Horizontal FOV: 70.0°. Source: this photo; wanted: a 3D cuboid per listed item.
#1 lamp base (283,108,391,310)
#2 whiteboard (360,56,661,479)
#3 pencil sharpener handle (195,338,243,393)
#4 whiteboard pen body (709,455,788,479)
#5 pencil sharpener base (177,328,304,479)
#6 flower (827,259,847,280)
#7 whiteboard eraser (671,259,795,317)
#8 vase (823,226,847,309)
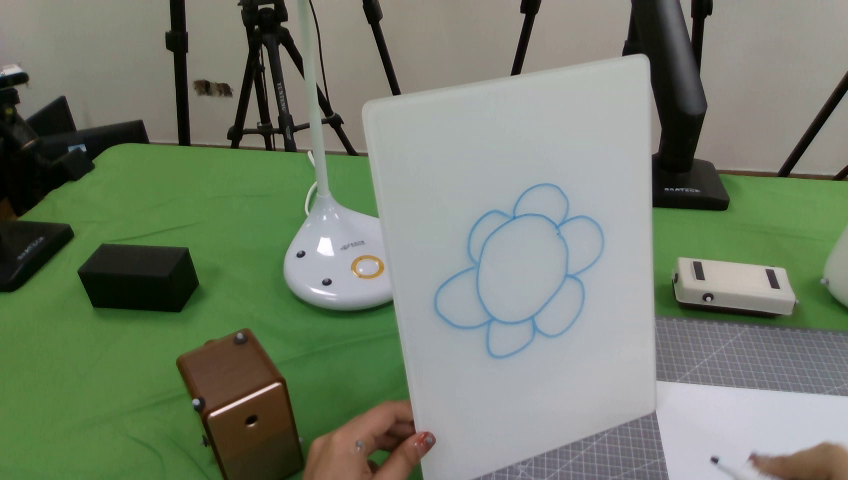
[{"bbox_3d":[-0.091,-0.043,0.663,0.161,0.182,0.177,-26,40,-30],"label":"lamp base"},{"bbox_3d":[0.062,0.019,0.512,0.218,0.307,0.142,-13,18,-15],"label":"whiteboard"},{"bbox_3d":[-0.171,0.100,0.506,0.036,0.068,0.030,-30,43,-21],"label":"pencil sharpener handle"},{"bbox_3d":[0.208,0.142,0.317,0.017,0.017,0.140,-18,11,-21],"label":"whiteboard pen body"},{"bbox_3d":[-0.144,0.135,0.478,0.061,0.108,0.076,-23,40,-26],"label":"pencil sharpener base"},{"bbox_3d":[0.481,-0.073,0.531,0.044,0.364,0.038,-9,54,-22],"label":"flower"},{"bbox_3d":[0.321,0.052,0.637,0.112,0.042,0.055,5,34,10],"label":"whiteboard eraser"},{"bbox_3d":[0.475,-0.015,0.592,0.098,0.201,0.097,0,36,0],"label":"vase"}]
